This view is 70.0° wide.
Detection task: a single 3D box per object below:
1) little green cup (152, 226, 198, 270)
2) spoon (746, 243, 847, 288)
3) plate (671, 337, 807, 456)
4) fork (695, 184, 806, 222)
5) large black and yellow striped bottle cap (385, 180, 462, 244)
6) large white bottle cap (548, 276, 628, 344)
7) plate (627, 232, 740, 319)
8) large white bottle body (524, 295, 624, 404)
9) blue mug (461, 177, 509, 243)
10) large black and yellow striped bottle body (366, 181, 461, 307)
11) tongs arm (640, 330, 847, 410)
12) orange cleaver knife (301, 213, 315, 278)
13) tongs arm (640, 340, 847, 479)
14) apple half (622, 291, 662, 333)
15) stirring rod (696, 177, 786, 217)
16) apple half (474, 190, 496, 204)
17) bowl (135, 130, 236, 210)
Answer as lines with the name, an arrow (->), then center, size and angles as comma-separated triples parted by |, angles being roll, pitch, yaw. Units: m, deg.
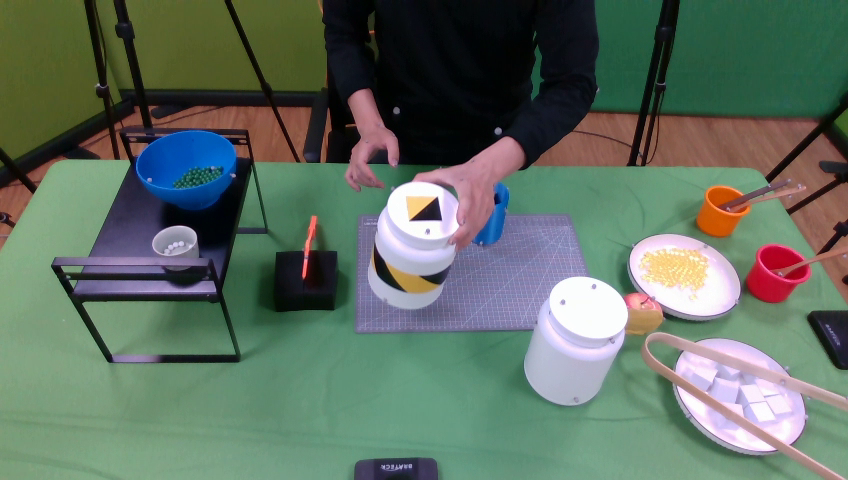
little green cup -> -0.364, 0.013, 0.894 | 0.061, 0.039, 0.061 | 3, 46, -3
spoon -> 0.702, 0.044, 1.126 | 0.194, 0.022, 0.041 | -29, 38, 30
plate -> 0.504, 0.254, 0.984 | 0.208, 0.039, 0.206 | 2, 46, -2
fork -> 0.658, -0.074, 1.229 | 0.207, 0.019, 0.028 | -24, 34, 36
large black and yellow striped bottle cap -> 0.000, -0.043, 0.895 | 0.115, 0.019, 0.114 | 7, 50, -8
large white bottle cap -> 0.240, 0.100, 0.890 | 0.115, 0.018, 0.114 | 3, 47, -3
plate -> 0.489, 0.070, 1.157 | 0.209, 0.038, 0.208 | 3, 46, -3
large white bottle body -> 0.235, 0.158, 0.952 | 0.131, 0.185, 0.130 | 2, 47, -2
blue mug -> 0.114, -0.069, 1.211 | 0.082, 0.106, 0.115 | -11, 48, -15
large black and yellow striped bottle body -> -0.016, 0.007, 0.961 | 0.131, 0.184, 0.130 | 7, 51, -9
tongs arm -> 0.543, 0.225, 0.969 | 0.384, 0.026, 0.050 | 22, 52, 13
orange cleaver knife -> -0.217, 0.007, 1.131 | 0.012, 0.077, 0.210 | 7, 20, -9
tongs arm -> 0.500, 0.277, 0.919 | 0.386, 0.028, 0.028 | 34, 59, 22
apple half -> 0.372, 0.123, 1.074 | 0.081, 0.075, 0.053 | 0, 43, 2
stirring rod -> 0.648, -0.087, 1.244 | 0.176, 0.006, 0.014 | -25, 50, 29
apple half -> 0.109, -0.067, 1.200 | 0.032, 0.081, 0.081 | 28, 50, 12
bowl -> -0.375, -0.102, 0.978 | 0.151, 0.077, 0.150 | 2, 46, -2
